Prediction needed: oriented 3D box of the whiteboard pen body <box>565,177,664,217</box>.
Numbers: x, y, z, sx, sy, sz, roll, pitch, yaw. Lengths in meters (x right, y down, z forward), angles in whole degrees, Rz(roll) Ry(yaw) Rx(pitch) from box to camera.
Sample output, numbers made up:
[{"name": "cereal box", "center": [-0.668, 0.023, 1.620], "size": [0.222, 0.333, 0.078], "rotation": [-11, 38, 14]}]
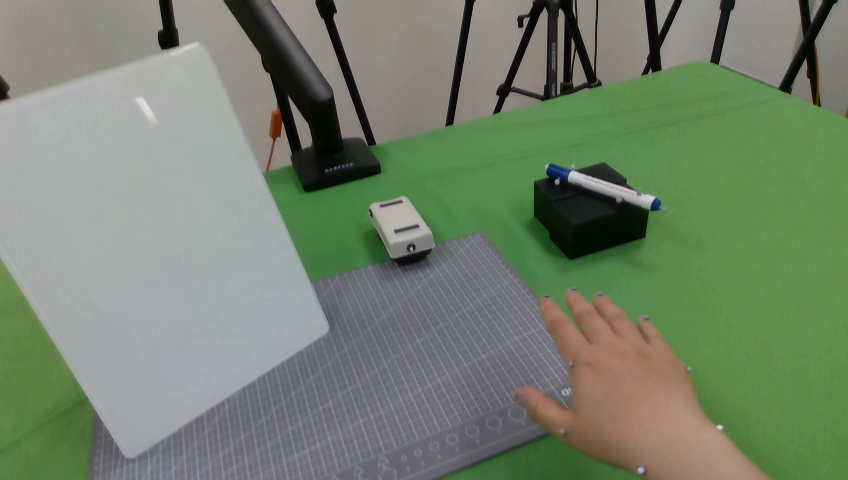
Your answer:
[{"name": "whiteboard pen body", "center": [0.213, -0.055, 0.709], "size": [0.017, 0.017, 0.139], "rotation": [-33, 42, -33]}]

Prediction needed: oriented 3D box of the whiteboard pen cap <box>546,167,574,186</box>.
[{"name": "whiteboard pen cap", "center": [0.167, -0.077, 0.746], "size": [0.033, 0.018, 0.018], "rotation": [-17, 32, 17]}]

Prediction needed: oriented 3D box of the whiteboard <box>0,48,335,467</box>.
[{"name": "whiteboard", "center": [-0.259, 0.008, 0.580], "size": [0.217, 0.307, 0.143], "rotation": [-31, 22, -30]}]

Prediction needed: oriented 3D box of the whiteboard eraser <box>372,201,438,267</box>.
[{"name": "whiteboard eraser", "center": [-0.026, -0.007, 0.745], "size": [0.056, 0.042, 0.111], "rotation": [-17, 32, -11]}]
